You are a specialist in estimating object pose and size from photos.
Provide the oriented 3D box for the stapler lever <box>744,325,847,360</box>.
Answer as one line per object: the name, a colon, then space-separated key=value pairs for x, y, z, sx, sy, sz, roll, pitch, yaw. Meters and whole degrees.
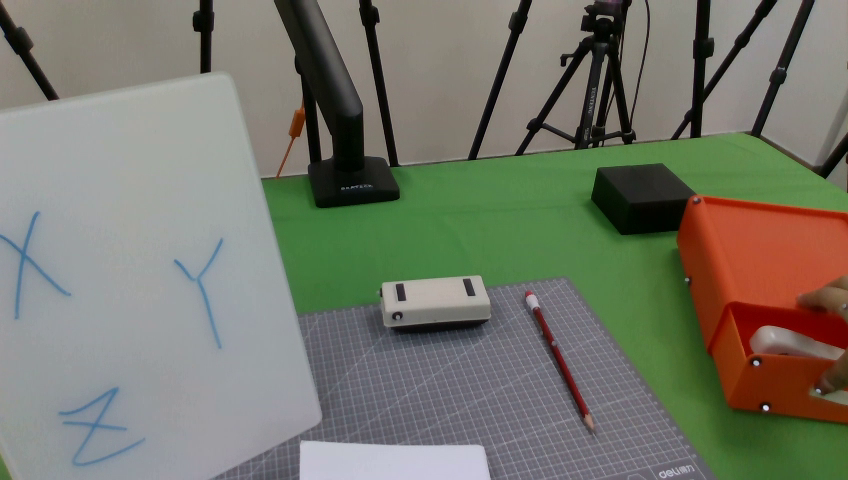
stapler lever: x=0.363 y=0.106 z=0.567 sx=0.118 sy=0.040 sz=0.026 roll=6 pitch=39 yaw=8

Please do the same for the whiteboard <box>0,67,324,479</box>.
whiteboard: x=-0.237 y=0.038 z=0.485 sx=0.218 sy=0.307 sz=0.142 roll=-21 pitch=22 yaw=-29

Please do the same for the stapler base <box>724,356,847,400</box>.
stapler base: x=0.363 y=0.127 z=0.583 sx=0.130 sy=0.024 sz=0.041 roll=5 pitch=39 yaw=9

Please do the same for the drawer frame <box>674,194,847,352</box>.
drawer frame: x=0.401 y=0.042 z=0.671 sx=0.201 sy=0.083 sz=0.212 roll=7 pitch=34 yaw=7

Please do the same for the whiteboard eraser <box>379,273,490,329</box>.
whiteboard eraser: x=0.010 y=0.065 z=0.641 sx=0.113 sy=0.042 sz=0.055 roll=-3 pitch=36 yaw=-8

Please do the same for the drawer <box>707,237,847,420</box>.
drawer: x=0.391 y=0.081 z=0.616 sx=0.194 sy=0.074 sz=0.210 roll=6 pitch=34 yaw=7

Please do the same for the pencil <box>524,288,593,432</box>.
pencil: x=0.133 y=0.113 z=0.610 sx=0.012 sy=0.012 sz=0.192 roll=-4 pitch=37 yaw=-9

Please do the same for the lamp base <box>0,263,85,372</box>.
lamp base: x=-0.438 y=0.013 z=0.567 sx=0.178 sy=0.182 sz=0.160 roll=16 pitch=36 yaw=22
